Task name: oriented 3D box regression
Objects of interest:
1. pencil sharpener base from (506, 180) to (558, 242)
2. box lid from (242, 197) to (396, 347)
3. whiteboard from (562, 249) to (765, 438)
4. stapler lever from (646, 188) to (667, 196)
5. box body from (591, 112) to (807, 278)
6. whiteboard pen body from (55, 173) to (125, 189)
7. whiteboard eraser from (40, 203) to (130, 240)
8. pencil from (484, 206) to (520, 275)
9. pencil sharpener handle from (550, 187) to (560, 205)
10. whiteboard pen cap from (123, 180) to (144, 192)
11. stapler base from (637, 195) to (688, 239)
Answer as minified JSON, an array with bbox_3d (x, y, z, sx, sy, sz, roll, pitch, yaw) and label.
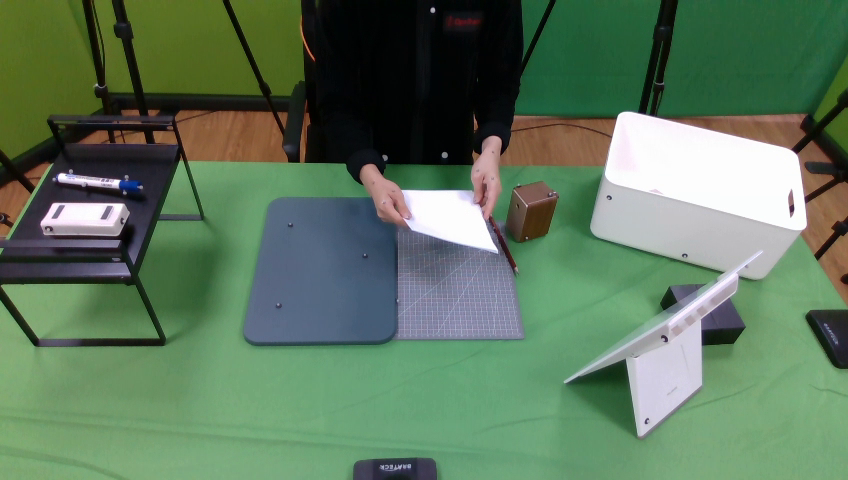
[{"bbox_3d":[0.216,-0.058,1.211,0.077,0.107,0.061,-16,49,-19],"label":"pencil sharpener base"},{"bbox_3d":[-0.186,0.046,1.147,0.263,0.015,0.369,0,46,-3],"label":"box lid"},{"bbox_3d":[0.386,0.175,0.905,0.217,0.306,0.143,-26,72,-26],"label":"whiteboard"},{"bbox_3d":[0.507,-0.075,1.262,0.027,0.040,0.117,-14,46,-19],"label":"stapler lever"},{"bbox_3d":[0.540,-0.092,1.229,0.363,0.161,0.253,16,47,11],"label":"box body"},{"bbox_3d":[-0.539,-0.095,0.998,0.141,0.017,0.017,6,46,6],"label":"whiteboard pen body"},{"bbox_3d":[-0.513,-0.028,0.922,0.113,0.042,0.055,1,48,-3],"label":"whiteboard eraser"},{"bbox_3d":[0.156,-0.002,1.218,0.012,0.012,0.192,-10,48,-13],"label":"pencil"},{"bbox_3d":[0.261,-0.084,1.221,0.031,0.068,0.036,-16,66,-19],"label":"pencil sharpener handle"},{"bbox_3d":[-0.479,-0.089,0.993,0.033,0.018,0.018,7,46,14],"label":"whiteboard pen cap"},{"bbox_3d":[0.507,-0.055,1.280,0.041,0.024,0.129,-14,47,-19],"label":"stapler base"}]
